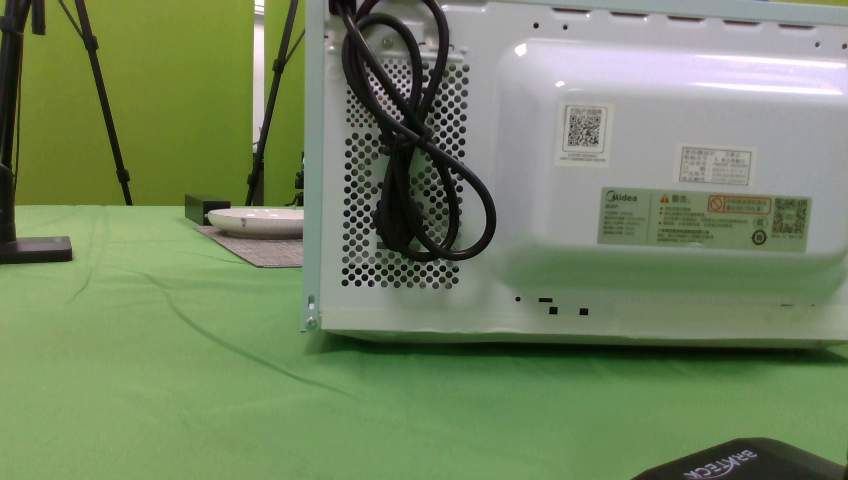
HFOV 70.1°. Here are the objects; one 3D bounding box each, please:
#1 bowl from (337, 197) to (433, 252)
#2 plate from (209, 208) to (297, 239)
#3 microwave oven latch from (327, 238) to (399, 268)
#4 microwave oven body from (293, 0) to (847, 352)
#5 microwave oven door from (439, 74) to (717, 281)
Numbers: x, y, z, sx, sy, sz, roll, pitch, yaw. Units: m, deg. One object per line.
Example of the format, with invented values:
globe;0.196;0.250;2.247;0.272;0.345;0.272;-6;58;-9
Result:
bowl;-0.062;-0.024;0.955;0.151;0.077;0.151;3;7;0
plate;-0.271;-0.029;1.074;0.208;0.039;0.207;3;7;0
microwave oven latch;-0.069;0.015;0.694;0.079;0.029;0.030;3;7;-3
microwave oven body;0.122;-0.055;0.550;0.442;0.260;0.325;3;7;-5
microwave oven door;0.183;-0.089;0.801;0.354;0.243;0.039;7;9;32
